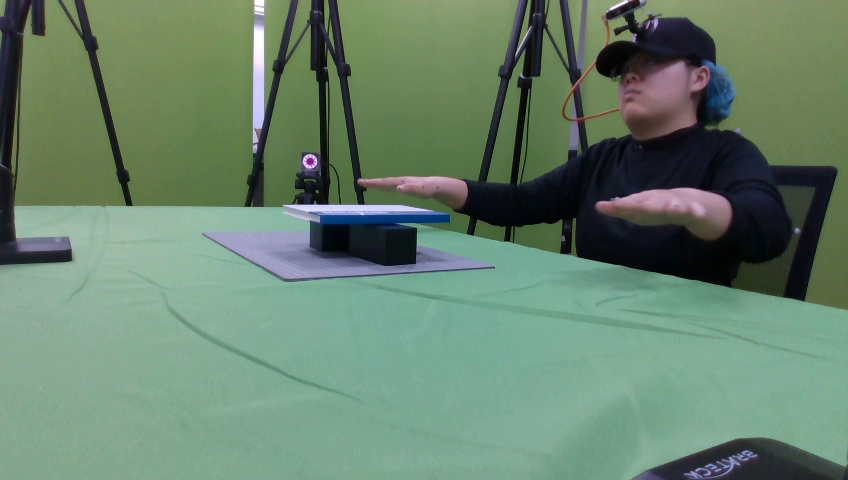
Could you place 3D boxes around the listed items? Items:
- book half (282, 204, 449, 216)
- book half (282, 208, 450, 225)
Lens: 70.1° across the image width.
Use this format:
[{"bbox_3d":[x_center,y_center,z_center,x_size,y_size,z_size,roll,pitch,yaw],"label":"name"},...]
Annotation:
[{"bbox_3d":[-0.088,-0.045,0.907,0.211,0.007,0.142,-2,9,-32],"label":"book half"},{"bbox_3d":[-0.086,-0.037,0.905,0.211,0.016,0.148,-1,9,-32],"label":"book half"}]
